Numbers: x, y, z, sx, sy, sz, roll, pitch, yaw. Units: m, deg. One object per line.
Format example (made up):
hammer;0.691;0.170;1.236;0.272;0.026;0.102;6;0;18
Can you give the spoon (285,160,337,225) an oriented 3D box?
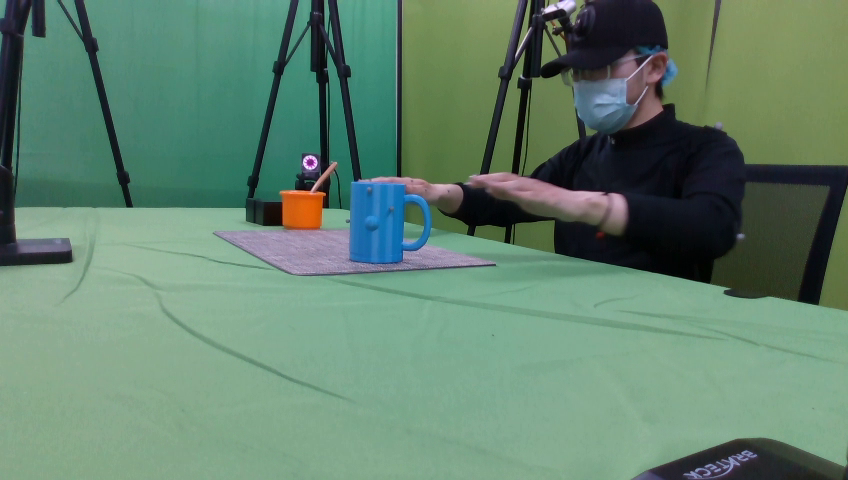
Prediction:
spoon;-0.229;-0.101;1.251;0.041;0.194;0.022;1;-38;36

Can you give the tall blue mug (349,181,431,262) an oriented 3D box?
tall blue mug;-0.051;-0.028;0.849;0.108;0.108;0.077;-1;7;-22
